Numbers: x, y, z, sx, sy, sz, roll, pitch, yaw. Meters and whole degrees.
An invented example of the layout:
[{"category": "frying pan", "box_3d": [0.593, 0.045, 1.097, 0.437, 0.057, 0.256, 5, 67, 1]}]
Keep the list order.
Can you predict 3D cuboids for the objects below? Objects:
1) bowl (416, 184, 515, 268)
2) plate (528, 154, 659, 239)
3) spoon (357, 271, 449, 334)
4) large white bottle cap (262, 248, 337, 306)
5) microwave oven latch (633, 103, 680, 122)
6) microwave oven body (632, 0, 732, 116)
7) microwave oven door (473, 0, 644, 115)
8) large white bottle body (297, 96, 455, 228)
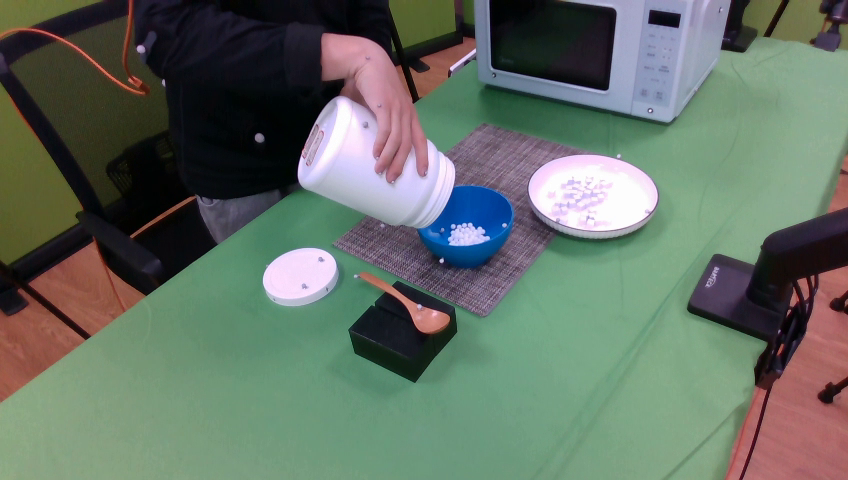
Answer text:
[{"category": "bowl", "box_3d": [0.063, -0.011, 0.922, 0.151, 0.077, 0.150, -4, 40, 4]}, {"category": "plate", "box_3d": [0.274, -0.069, 0.993, 0.209, 0.038, 0.208, -2, 42, 2]}, {"category": "spoon", "box_3d": [-0.035, 0.078, 0.812, 0.042, 0.022, 0.192, -34, 42, -24]}, {"category": "large white bottle cap", "box_3d": [-0.193, 0.056, 0.934, 0.115, 0.018, 0.114, -4, 41, 4]}, {"category": "microwave oven latch", "box_3d": [0.443, -0.249, 1.157, 0.078, 0.029, 0.030, 21, 49, 30]}, {"category": "microwave oven body", "box_3d": [0.377, -0.463, 1.267, 0.438, 0.261, 0.327, 21, 49, 30]}, {"category": "microwave oven door", "box_3d": [0.257, -0.396, 1.199, 0.353, 0.245, 0.039, 21, 48, 29]}, {"category": "large white bottle body", "box_3d": [-0.062, -0.098, 0.818, 0.186, 0.130, 0.130, 23, 32, -26]}]
